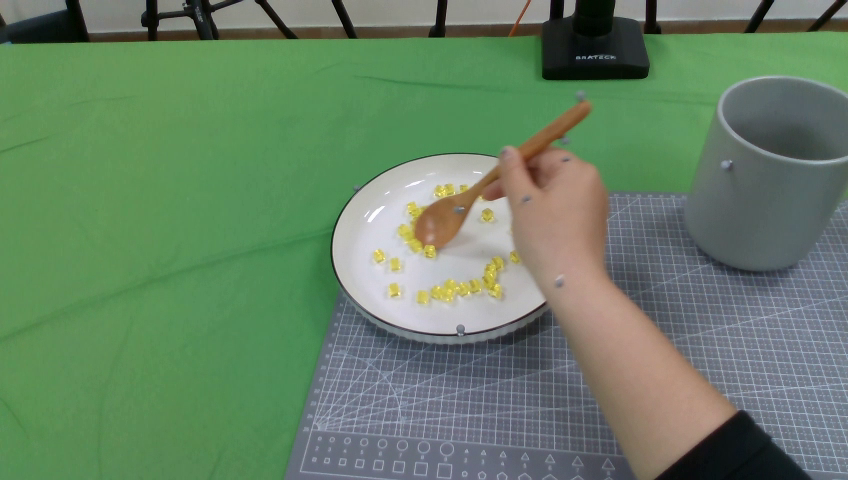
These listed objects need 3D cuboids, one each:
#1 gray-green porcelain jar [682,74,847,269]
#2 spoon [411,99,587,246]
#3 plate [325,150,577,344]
[{"bbox_3d":[0.268,-0.048,0.477,0.106,0.128,0.105,-3,48,4],"label":"gray-green porcelain jar"},{"bbox_3d":[0.051,-0.048,0.473,0.022,0.194,0.041,2,63,-37],"label":"spoon"},{"bbox_3d":[0.022,0.005,0.516,0.207,0.039,0.205,-2,48,3],"label":"plate"}]
